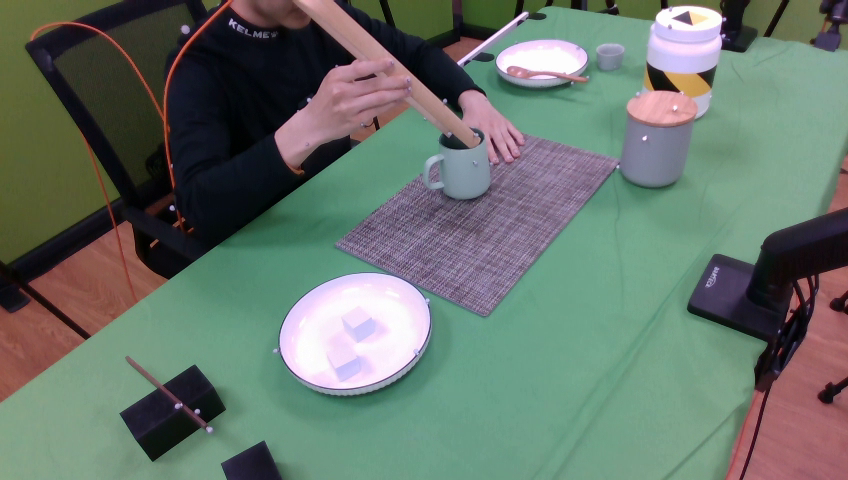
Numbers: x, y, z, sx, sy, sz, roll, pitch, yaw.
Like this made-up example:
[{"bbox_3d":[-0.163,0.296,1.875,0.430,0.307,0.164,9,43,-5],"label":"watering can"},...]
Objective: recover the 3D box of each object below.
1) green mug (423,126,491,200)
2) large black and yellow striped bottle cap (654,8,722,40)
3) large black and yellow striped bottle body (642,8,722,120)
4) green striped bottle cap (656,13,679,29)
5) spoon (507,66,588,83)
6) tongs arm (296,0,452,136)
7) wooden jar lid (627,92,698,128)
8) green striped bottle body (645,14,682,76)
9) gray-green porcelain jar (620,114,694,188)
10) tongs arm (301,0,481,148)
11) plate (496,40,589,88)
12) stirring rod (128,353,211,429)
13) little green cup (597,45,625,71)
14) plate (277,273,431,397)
[{"bbox_3d":[0.055,-0.125,1.039,0.126,0.105,0.091,-25,44,-19],"label":"green mug"},{"bbox_3d":[0.483,-0.397,1.108,0.115,0.019,0.114,-3,41,3],"label":"large black and yellow striped bottle cap"},{"bbox_3d":[0.493,-0.334,1.161,0.131,0.185,0.130,-4,41,4],"label":"large black and yellow striped bottle body"},{"bbox_3d":[0.515,-0.463,1.278,0.044,0.020,0.044,-5,42,5],"label":"green striped bottle cap"},{"bbox_3d":[0.265,-0.357,1.311,0.192,0.022,0.042,18,47,38],"label":"spoon"},{"bbox_3d":[-0.054,-0.249,0.882,0.028,0.391,0.028,-50,52,7],"label":"tongs arm"},{"bbox_3d":[0.384,-0.207,0.980,0.108,0.021,0.108,-6,39,5],"label":"wooden jar lid"},{"bbox_3d":[0.520,-0.424,1.312,0.063,0.120,0.063,-4,41,4],"label":"green striped bottle body"},{"bbox_3d":[0.390,-0.160,1.020,0.106,0.127,0.105,-4,41,4],"label":"gray-green porcelain jar"},{"bbox_3d":[-0.032,-0.230,0.857,0.026,0.388,0.050,-53,51,5],"label":"tongs arm"},{"bbox_3d":[0.269,-0.398,1.381,0.209,0.038,0.208,-4,41,4],"label":"plate"},{"bbox_3d":[-0.311,0.180,0.732,0.175,0.014,0.006,25,54,32],"label":"stirring rod"},{"bbox_3d":[0.422,-0.413,1.375,0.061,0.039,0.061,-3,41,3],"label":"little green cup"},{"bbox_3d":[-0.091,0.129,0.821,0.207,0.039,0.206,-4,40,4],"label":"plate"}]
